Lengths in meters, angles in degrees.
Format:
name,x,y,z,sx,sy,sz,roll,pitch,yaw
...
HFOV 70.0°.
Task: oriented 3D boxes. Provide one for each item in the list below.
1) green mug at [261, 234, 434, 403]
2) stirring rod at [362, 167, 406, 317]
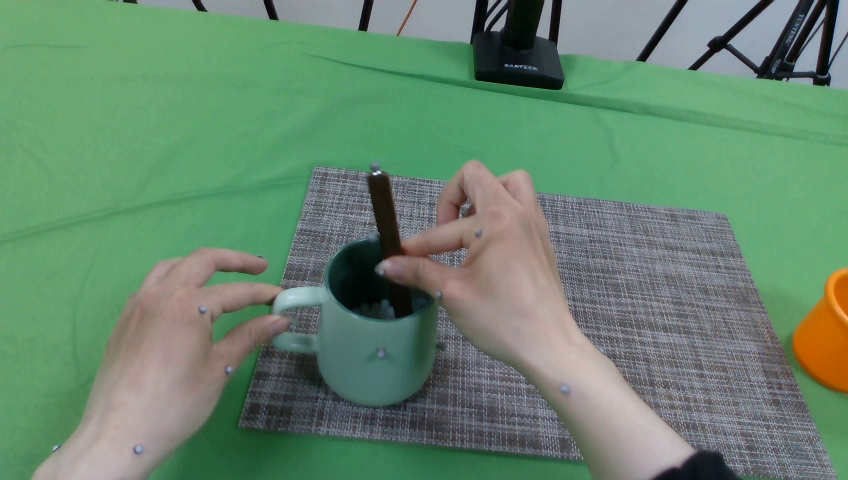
name,x,y,z,sx,sy,sz,roll,pitch,yaw
green mug,-0.054,0.060,0.442,0.125,0.106,0.091,-1,47,-11
stirring rod,-0.023,0.024,0.413,0.014,0.178,0.005,-4,43,3
